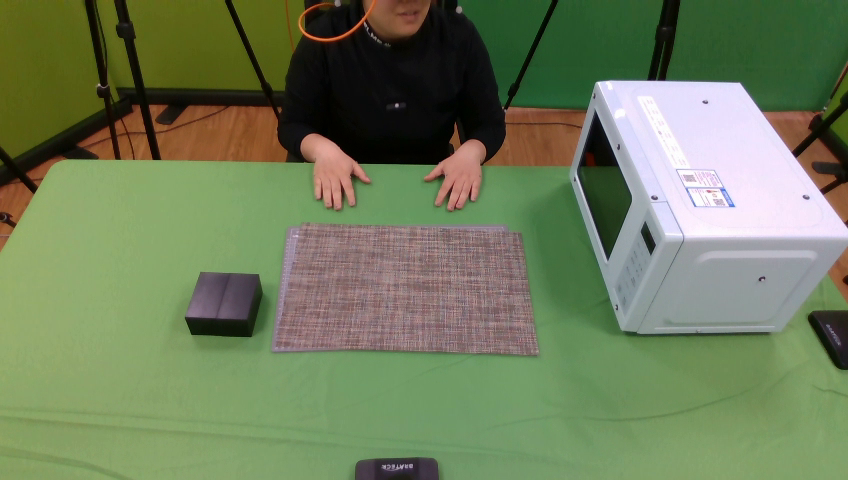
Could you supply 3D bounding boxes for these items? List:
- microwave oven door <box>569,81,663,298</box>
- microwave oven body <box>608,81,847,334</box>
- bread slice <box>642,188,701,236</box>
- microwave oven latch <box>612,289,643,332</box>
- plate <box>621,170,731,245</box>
[{"bbox_3d":[0.353,-0.104,1.147,0.039,0.245,0.353,0,46,-4],"label":"microwave oven door"},{"bbox_3d":[0.501,-0.070,1.132,0.326,0.261,0.438,-1,45,-4],"label":"microwave oven body"},{"bbox_3d":[0.494,-0.057,1.197,0.105,0.019,0.131,6,42,4],"label":"bread slice"},{"bbox_3d":[0.357,0.124,1.068,0.030,0.029,0.078,0,45,-3],"label":"microwave oven latch"},{"bbox_3d":[0.490,-0.060,1.194,0.209,0.038,0.208,3,45,-2],"label":"plate"}]
